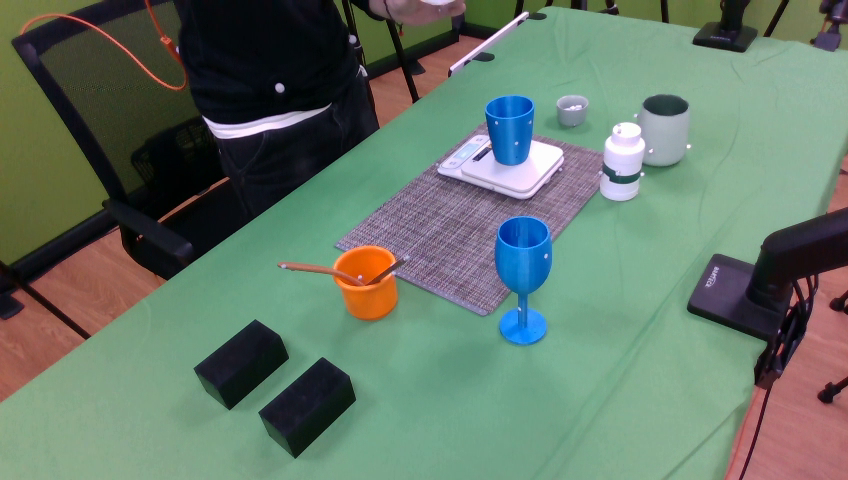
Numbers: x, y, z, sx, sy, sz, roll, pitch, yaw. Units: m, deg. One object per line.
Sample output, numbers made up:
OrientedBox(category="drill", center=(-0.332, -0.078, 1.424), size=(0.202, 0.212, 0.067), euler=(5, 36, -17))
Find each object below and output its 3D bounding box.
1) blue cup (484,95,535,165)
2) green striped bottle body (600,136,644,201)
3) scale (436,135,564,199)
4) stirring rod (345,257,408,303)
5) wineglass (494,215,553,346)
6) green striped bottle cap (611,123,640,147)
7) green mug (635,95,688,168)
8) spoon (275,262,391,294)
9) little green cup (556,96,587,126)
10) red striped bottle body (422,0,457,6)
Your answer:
OrientedBox(category="blue cup", center=(0.150, -0.188, 1.053), size=(0.092, 0.100, 0.092), euler=(-6, 39, 5))
OrientedBox(category="green striped bottle body", center=(0.326, -0.128, 0.997), size=(0.063, 0.120, 0.063), euler=(-4, 41, 4))
OrientedBox(category="scale", center=(0.137, -0.142, 1.101), size=(0.199, 0.032, 0.149), euler=(22, 48, 30))
OrientedBox(category="stirring rod", center=(-0.067, 0.057, 0.815), size=(0.014, 0.175, 0.006), euler=(-24, 82, -38))
OrientedBox(category="wineglass", center=(0.126, 0.055, 0.770), size=(0.074, 0.173, 0.073), euler=(-4, 40, 4))
OrientedBox(category="green striped bottle cap", center=(0.322, -0.168, 0.963), size=(0.044, 0.020, 0.044), euler=(-3, 41, 3))
OrientedBox(category="green mug", center=(0.421, -0.201, 1.081), size=(0.092, 0.105, 0.125), euler=(5, 42, 15))
OrientedBox(category="spoon", center=(-0.120, 0.050, 0.830), size=(0.041, 0.195, 0.021), euler=(31, 97, 45))
OrientedBox(category="little green cup", center=(0.295, -0.258, 1.214), size=(0.061, 0.039, 0.061), euler=(-4, 42, 4))
OrientedBox(category="red striped bottle body", center=(0.020, -0.404, 0.860), size=(0.063, 0.120, 0.062), euler=(-3, 46, 3))
